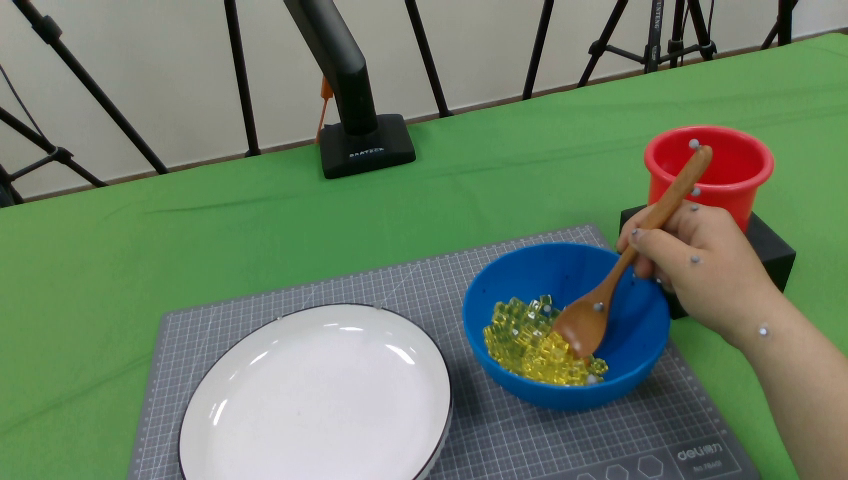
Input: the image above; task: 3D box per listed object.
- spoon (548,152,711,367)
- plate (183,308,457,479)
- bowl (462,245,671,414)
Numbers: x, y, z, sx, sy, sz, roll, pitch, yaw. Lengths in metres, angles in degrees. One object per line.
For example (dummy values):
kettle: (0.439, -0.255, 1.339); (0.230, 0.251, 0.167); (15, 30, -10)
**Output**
spoon: (0.149, 0.020, 0.447); (0.022, 0.194, 0.041); (-2, 39, -41)
plate: (-0.076, 0.139, 0.470); (0.207, 0.039, 0.205); (-5, 39, 5)
bowl: (0.108, 0.081, 0.471); (0.151, 0.077, 0.150); (-6, 39, 5)
